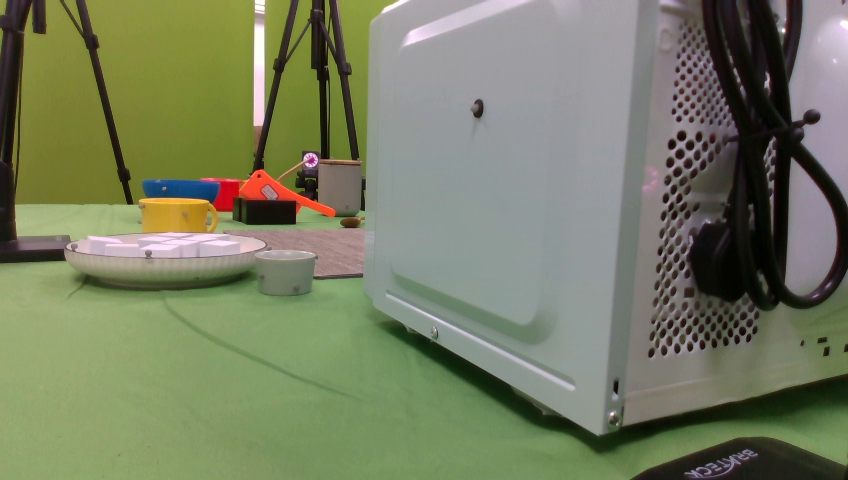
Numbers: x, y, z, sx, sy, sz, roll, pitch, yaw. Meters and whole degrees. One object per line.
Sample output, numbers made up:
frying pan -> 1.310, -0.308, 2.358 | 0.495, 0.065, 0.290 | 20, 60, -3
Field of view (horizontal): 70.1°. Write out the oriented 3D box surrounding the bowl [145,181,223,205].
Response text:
bowl -> -0.499, -0.081, 1.261 | 0.151, 0.077, 0.151 | 2, 8, 0

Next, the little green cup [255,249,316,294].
little green cup -> -0.144, 0.032, 0.627 | 0.061, 0.038, 0.061 | 4, 7, 0

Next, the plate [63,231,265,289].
plate -> -0.288, 0.021, 0.687 | 0.208, 0.039, 0.207 | 2, 8, 0

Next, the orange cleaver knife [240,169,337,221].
orange cleaver knife -> -0.287, -0.081, 1.299 | 0.212, 0.077, 0.012 | 25, -2, -31

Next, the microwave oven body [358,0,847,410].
microwave oven body -> 0.210, -0.051, 0.472 | 0.444, 0.260, 0.324 | -1, 7, -28

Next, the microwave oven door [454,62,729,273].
microwave oven door -> 0.198, -0.098, 0.798 | 0.354, 0.243, 0.039 | 7, 9, 37

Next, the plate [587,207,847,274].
plate -> 0.246, -0.002, 0.515 | 0.209, 0.038, 0.209 | 2, 7, 0

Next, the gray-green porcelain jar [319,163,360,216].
gray-green porcelain jar -> -0.205, -0.126, 1.490 | 0.106, 0.126, 0.106 | 1, 8, 0

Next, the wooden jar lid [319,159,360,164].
wooden jar lid -> -0.203, -0.189, 1.482 | 0.108, 0.020, 0.108 | 2, 10, 0

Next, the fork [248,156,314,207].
fork -> -0.360, -0.147, 1.523 | 0.207, 0.019, 0.028 | -43, 17, -6

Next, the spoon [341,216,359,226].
spoon -> -0.132, -0.048, 1.305 | 0.041, 0.021, 0.194 | -14, 4, 14

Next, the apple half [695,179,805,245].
apple half -> 0.279, -0.024, 0.515 | 0.075, 0.053, 0.080 | 8, -6, -19

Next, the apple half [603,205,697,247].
apple half -> 0.206, -0.016, 0.543 | 0.081, 0.033, 0.081 | 3, 12, 0

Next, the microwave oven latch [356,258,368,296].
microwave oven latch -> -0.019, 0.031, 0.529 | 0.079, 0.029, 0.030 | -1, 7, -26

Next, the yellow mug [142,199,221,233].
yellow mug -> -0.372, -0.030, 0.947 | 0.099, 0.064, 0.131 | 5, 7, 30
